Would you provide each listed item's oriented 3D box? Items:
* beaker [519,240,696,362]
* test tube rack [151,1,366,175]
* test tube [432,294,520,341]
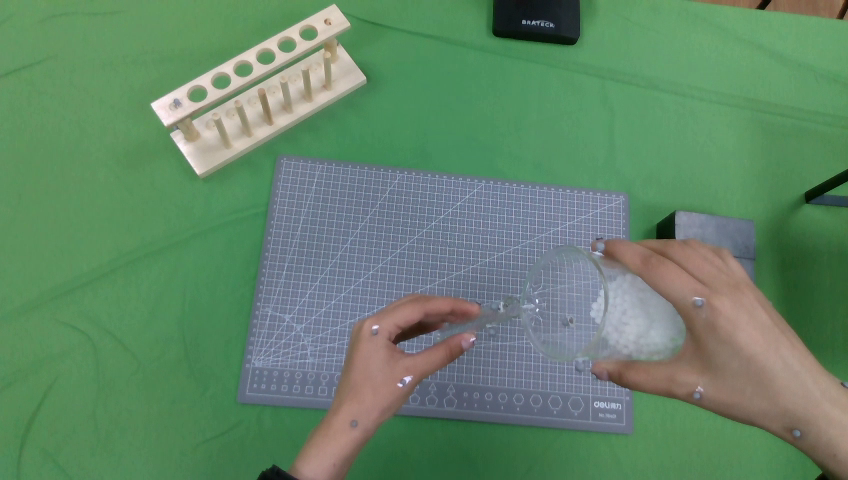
[{"bbox_3d":[0.125,0.045,0.411,0.101,0.083,0.073,11,77,-32],"label":"beaker"},{"bbox_3d":[-0.188,-0.182,0.728,0.242,0.085,0.066,-34,79,-14],"label":"test tube rack"},{"bbox_3d":[0.037,0.065,0.488,0.017,0.150,0.017,6,72,-18],"label":"test tube"}]
